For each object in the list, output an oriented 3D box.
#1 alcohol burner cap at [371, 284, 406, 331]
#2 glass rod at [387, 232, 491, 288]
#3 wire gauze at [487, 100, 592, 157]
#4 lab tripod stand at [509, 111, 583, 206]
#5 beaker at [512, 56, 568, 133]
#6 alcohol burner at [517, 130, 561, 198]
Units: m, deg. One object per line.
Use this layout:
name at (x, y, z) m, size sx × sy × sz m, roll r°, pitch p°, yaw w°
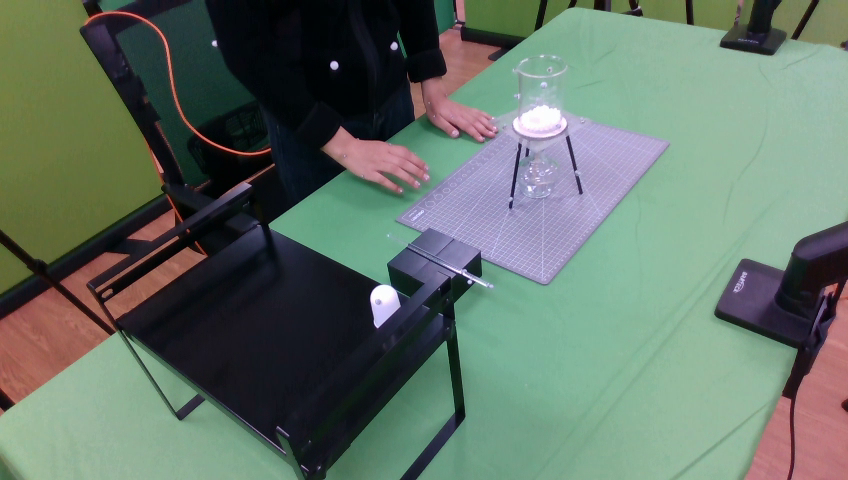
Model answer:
alcohol burner cap at (-0.037, 0.065, 0.608) m, size 0.034 × 0.048 × 0.033 m, roll -4°, pitch 42°, yaw 4°
glass rod at (0.017, 0.027, 0.877) m, size 0.198 × 0.008 × 0.008 m, roll 26°, pitch 51°, yaw 34°
wire gauze at (0.185, -0.187, 0.974) m, size 0.122 × 0.011 × 0.124 m, roll -28°, pitch 47°, yaw -22°
lab tripod stand at (0.198, -0.139, 1.019) m, size 0.148 × 0.132 × 0.147 m, roll -3°, pitch 39°, yaw 3°
beaker at (0.181, -0.225, 0.946) m, size 0.084 × 0.101 × 0.074 m, roll 2°, pitch 41°, yaw 12°
alcohol burner at (0.193, -0.131, 1.026) m, size 0.078 × 0.119 × 0.077 m, roll -4°, pitch 38°, yaw 4°
